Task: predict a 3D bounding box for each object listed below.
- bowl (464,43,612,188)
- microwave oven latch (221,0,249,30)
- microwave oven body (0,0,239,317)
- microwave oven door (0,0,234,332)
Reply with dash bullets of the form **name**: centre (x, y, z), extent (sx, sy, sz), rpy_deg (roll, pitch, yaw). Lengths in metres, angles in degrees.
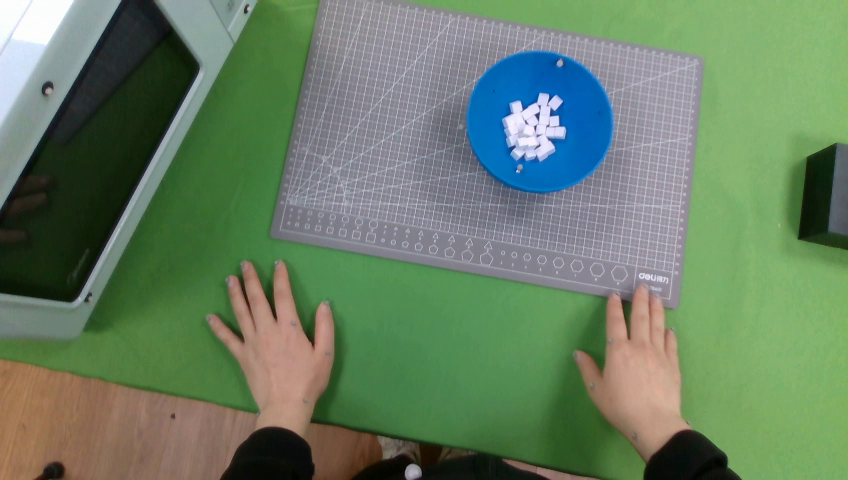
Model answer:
- **bowl**: centre (0.114, -0.121, 0.644), extent (0.151, 0.077, 0.151), rpy_deg (0, 82, -2)
- **microwave oven latch**: centre (-0.203, -0.271, 0.656), extent (0.030, 0.029, 0.079), rpy_deg (25, 82, 1)
- **microwave oven body**: centre (-0.407, -0.187, 0.537), extent (0.326, 0.260, 0.440), rpy_deg (24, 82, 1)
- **microwave oven door**: centre (-0.290, -0.090, 0.523), extent (0.039, 0.244, 0.355), rpy_deg (24, 81, 2)
